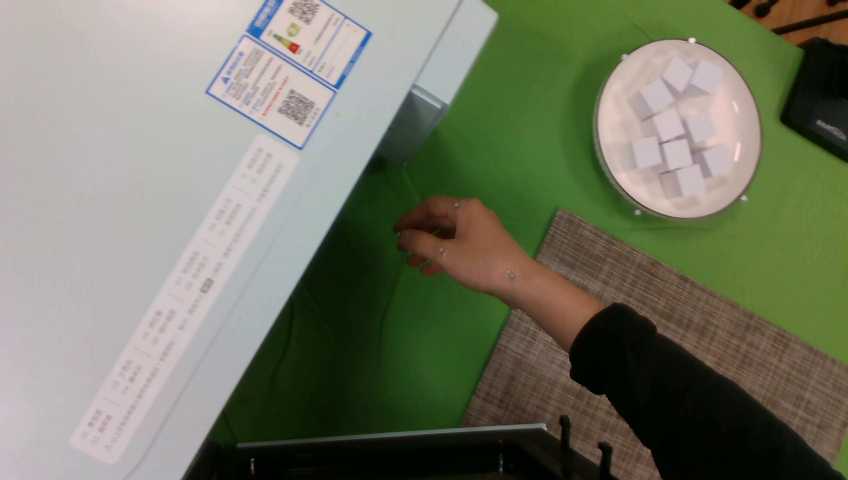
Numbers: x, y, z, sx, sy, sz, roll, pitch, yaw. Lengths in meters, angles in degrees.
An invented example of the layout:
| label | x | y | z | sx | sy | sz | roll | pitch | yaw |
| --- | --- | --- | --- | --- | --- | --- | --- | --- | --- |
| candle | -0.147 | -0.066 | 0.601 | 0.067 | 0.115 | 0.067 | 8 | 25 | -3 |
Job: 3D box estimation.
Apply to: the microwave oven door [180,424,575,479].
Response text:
| label | x | y | z | sx | sy | sz | roll | pitch | yaw |
| --- | --- | --- | --- | --- | --- | --- | --- | --- | --- |
| microwave oven door | -0.024 | 0.208 | 0.502 | 0.357 | 0.243 | 0.039 | 0 | 86 | -11 |

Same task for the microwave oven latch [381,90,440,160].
| label | x | y | z | sx | sy | sz | roll | pitch | yaw |
| --- | --- | --- | --- | --- | --- | --- | --- | --- | --- |
| microwave oven latch | -0.014 | -0.122 | 0.621 | 0.030 | 0.029 | 0.079 | 33 | 83 | -9 |

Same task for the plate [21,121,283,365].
| label | x | y | z | sx | sy | sz | roll | pitch | yaw |
| --- | --- | --- | --- | --- | --- | --- | --- | --- | --- |
| plate | -0.229 | 0.003 | 0.528 | 0.210 | 0.038 | 0.208 | 1 | 87 | -11 |

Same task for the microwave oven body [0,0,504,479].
| label | x | y | z | sx | sy | sz | roll | pitch | yaw |
| --- | --- | --- | --- | --- | --- | --- | --- | --- | --- |
| microwave oven body | -0.209 | -0.051 | 0.480 | 0.327 | 0.259 | 0.441 | 31 | 83 | -9 |

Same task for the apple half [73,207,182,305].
| label | x | y | z | sx | sy | sz | roll | pitch | yaw |
| --- | --- | --- | --- | --- | --- | --- | --- | --- | --- |
| apple half | -0.253 | 0.017 | 0.504 | 0.081 | 0.053 | 0.074 | 43 | 97 | -12 |

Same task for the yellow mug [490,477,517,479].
| label | x | y | z | sx | sy | sz | roll | pitch | yaw |
| --- | --- | --- | --- | --- | --- | --- | --- | --- | --- |
| yellow mug | 0.079 | 0.319 | 0.624 | 0.100 | 0.064 | 0.130 | 39 | 84 | -7 |

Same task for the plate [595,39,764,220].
| label | x | y | z | sx | sy | sz | roll | pitch | yaw |
| --- | --- | --- | --- | --- | --- | --- | --- | --- | --- |
| plate | 0.290 | -0.125 | 0.701 | 0.208 | 0.039 | 0.207 | 1 | 87 | -11 |

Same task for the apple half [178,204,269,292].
| label | x | y | z | sx | sy | sz | roll | pitch | yaw |
| --- | --- | --- | --- | --- | --- | --- | --- | --- | --- |
| apple half | -0.180 | 0.008 | 0.531 | 0.081 | 0.033 | 0.081 | 1 | 85 | -7 |
